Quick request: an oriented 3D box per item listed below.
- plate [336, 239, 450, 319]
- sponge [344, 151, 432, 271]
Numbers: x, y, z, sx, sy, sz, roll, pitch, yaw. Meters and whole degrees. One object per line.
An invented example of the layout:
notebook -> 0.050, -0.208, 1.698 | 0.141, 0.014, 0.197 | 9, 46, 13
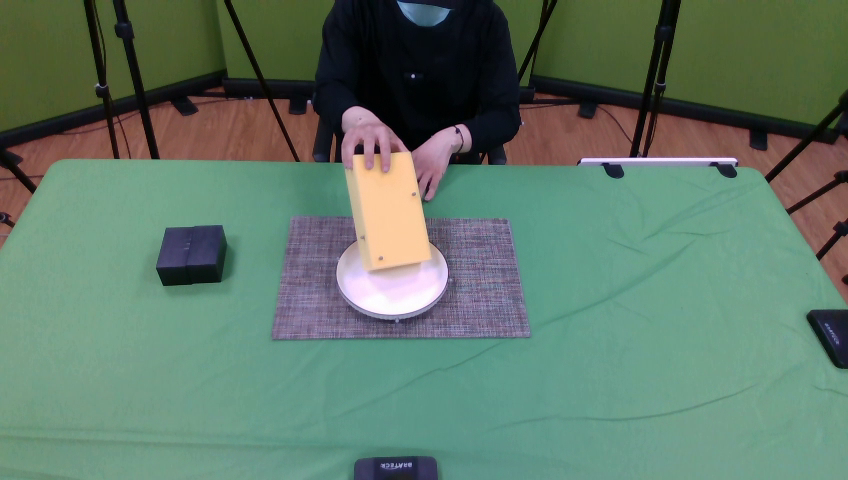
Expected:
plate -> -0.056, 0.065, 1.113 | 0.208, 0.039, 0.206 | 2, 46, -2
sponge -> -0.068, -0.054, 1.119 | 0.118, 0.061, 0.206 | -9, 84, -22
